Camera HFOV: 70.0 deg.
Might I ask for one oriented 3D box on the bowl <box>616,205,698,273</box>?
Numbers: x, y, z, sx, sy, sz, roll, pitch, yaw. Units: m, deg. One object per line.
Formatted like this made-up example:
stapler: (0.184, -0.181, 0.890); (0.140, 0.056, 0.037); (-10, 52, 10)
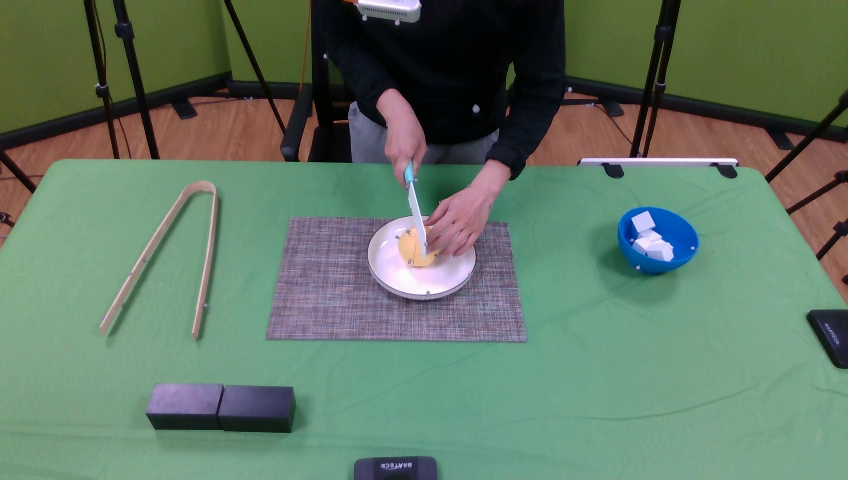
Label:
bowl: (0.443, 0.011, 1.182); (0.151, 0.077, 0.150); (2, 46, -2)

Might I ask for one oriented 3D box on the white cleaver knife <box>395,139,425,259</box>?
white cleaver knife: (-0.027, -0.083, 1.109); (0.021, 0.066, 0.284); (-3, 47, -10)

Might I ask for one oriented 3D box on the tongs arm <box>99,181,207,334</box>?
tongs arm: (-0.494, 0.018, 1.132); (0.051, 0.026, 0.382); (7, 45, 0)

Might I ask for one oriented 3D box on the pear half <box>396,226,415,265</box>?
pear half: (-0.035, 0.007, 1.124); (0.031, 0.088, 0.070); (-6, 52, -10)

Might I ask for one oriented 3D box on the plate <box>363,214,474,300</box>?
plate: (-0.010, 0.036, 1.147); (0.208, 0.039, 0.206); (2, 46, -2)

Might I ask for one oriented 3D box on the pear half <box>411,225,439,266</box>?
pear half: (0.000, -0.001, 1.121); (0.056, 0.110, 0.076); (-6, 53, -10)

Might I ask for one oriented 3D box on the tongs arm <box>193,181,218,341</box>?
tongs arm: (-0.413, 0.024, 1.140); (0.028, 0.028, 0.385); (-5, 47, -7)
